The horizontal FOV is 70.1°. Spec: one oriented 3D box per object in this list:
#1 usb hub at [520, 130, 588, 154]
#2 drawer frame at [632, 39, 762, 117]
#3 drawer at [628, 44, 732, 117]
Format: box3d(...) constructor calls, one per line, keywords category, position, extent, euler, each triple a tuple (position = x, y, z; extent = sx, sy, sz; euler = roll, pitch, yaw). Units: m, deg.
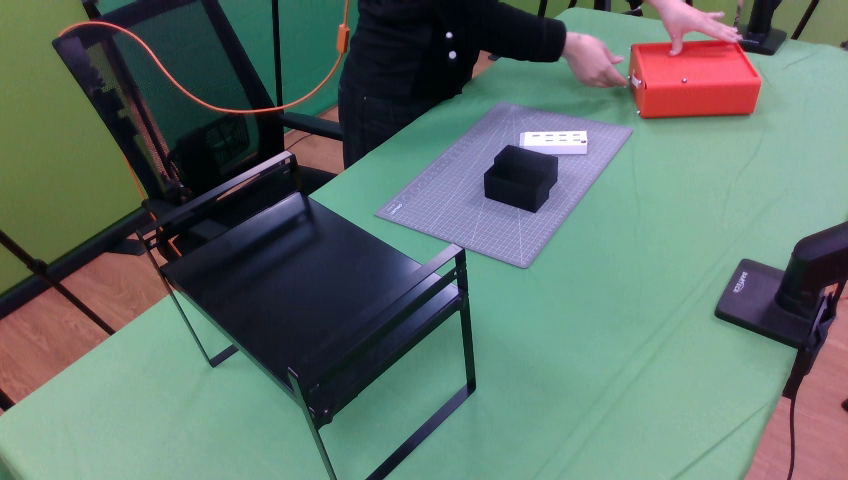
box3d(category="usb hub", position=(0.246, -0.185, 1.148), extent=(0.125, 0.025, 0.049), euler=(1, 43, 10))
box3d(category="drawer frame", position=(0.539, -0.332, 1.234), extent=(0.213, 0.083, 0.201), euler=(0, 41, 7))
box3d(category="drawer", position=(0.535, -0.330, 1.236), extent=(0.211, 0.073, 0.194), euler=(1, 40, 8))
